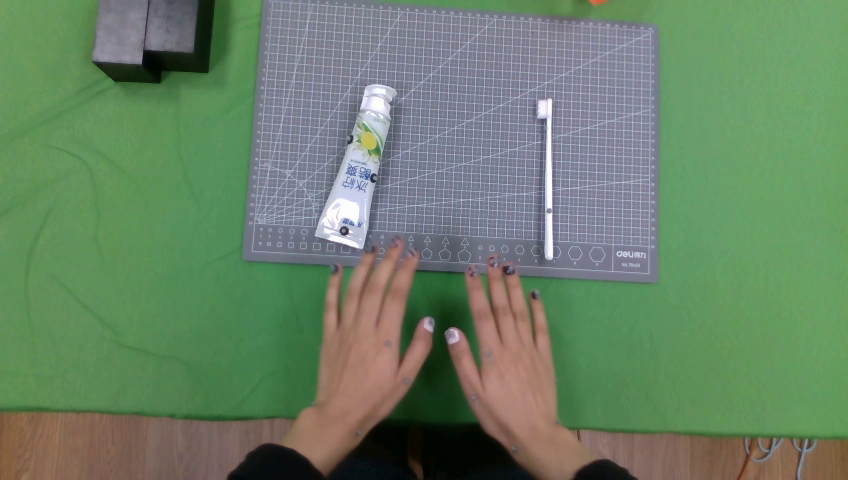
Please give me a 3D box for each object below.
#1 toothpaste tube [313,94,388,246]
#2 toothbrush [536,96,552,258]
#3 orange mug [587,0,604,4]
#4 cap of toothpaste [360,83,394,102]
[{"bbox_3d":[-0.073,-0.080,0.648,0.055,0.034,0.165,14,86,5],"label":"toothpaste tube"},{"bbox_3d":[0.133,-0.070,0.666,0.016,0.014,0.181,0,83,0],"label":"toothbrush"},{"bbox_3d":[0.179,-0.330,0.661,0.083,0.101,0.125,-18,80,-5],"label":"orange mug"},{"bbox_3d":[-0.050,-0.158,0.653,0.037,0.037,0.011,4,80,-3],"label":"cap of toothpaste"}]
